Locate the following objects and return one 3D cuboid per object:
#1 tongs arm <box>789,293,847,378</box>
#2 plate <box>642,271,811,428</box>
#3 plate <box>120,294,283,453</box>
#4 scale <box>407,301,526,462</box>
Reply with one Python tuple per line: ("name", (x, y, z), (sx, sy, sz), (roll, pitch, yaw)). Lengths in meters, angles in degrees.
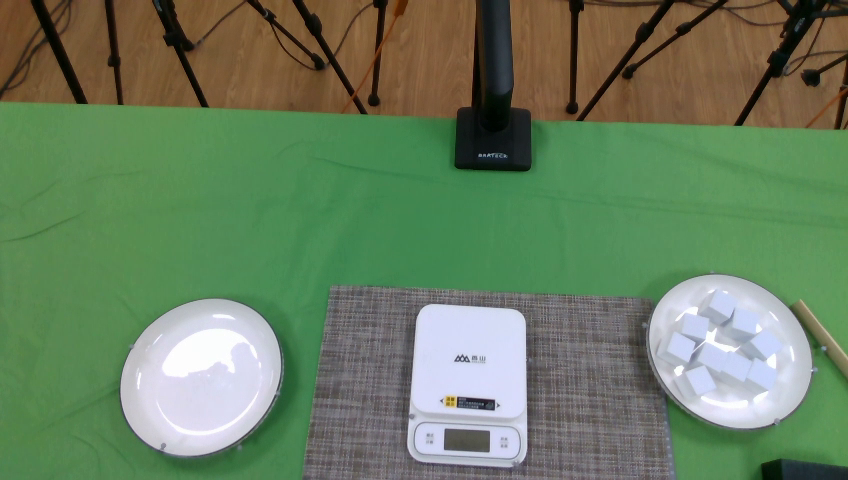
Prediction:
("tongs arm", (0.592, 0.227, 0.751), (0.028, 0.028, 0.384), (-24, 66, -13))
("plate", (0.388, 0.142, 0.792), (0.208, 0.039, 0.206), (0, 64, 1))
("plate", (-0.286, 0.173, 0.793), (0.209, 0.038, 0.207), (-1, 65, 1))
("scale", (0.057, 0.178, 0.782), (0.148, 0.032, 0.199), (3, 65, 3))
